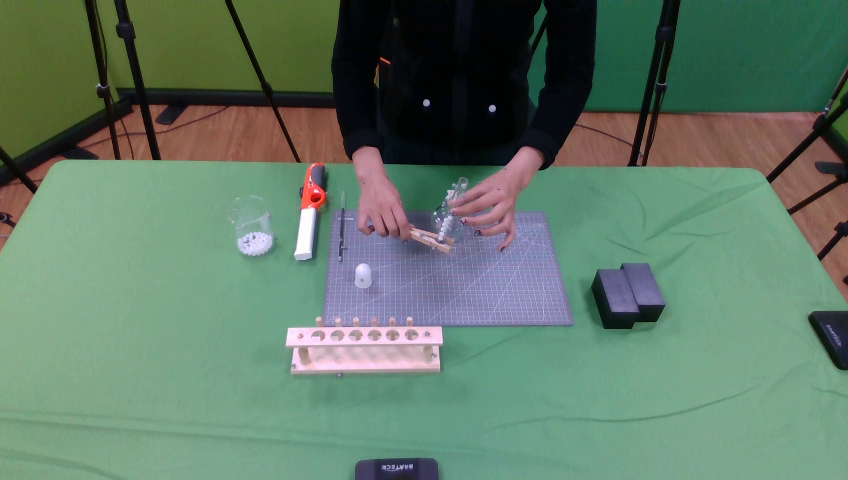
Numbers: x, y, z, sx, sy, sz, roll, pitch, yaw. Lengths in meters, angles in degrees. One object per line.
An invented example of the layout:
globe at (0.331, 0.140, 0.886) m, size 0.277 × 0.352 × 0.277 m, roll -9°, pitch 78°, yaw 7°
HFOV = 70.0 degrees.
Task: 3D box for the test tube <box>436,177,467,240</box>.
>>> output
test tube at (0.044, -0.049, 1.003) m, size 0.017 × 0.151 × 0.017 m, roll 9°, pitch 50°, yaw -10°

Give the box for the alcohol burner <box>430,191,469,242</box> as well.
alcohol burner at (0.052, -0.053, 1.185) m, size 0.078 × 0.119 × 0.077 m, roll 2°, pitch 48°, yaw -2°

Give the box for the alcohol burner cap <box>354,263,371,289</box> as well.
alcohol burner cap at (-0.113, 0.063, 1.111) m, size 0.034 × 0.048 × 0.033 m, roll 2°, pitch 45°, yaw -2°

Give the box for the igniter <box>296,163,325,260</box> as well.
igniter at (-0.233, -0.067, 1.243) m, size 0.057 × 0.025 × 0.274 m, roll -7°, pitch 46°, yaw 3°

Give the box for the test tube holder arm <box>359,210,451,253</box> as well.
test tube holder arm at (-0.035, -0.016, 1.073) m, size 0.178 × 0.015 × 0.013 m, roll 21°, pitch 46°, yaw 11°

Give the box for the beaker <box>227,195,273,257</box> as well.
beaker at (-0.326, -0.022, 1.142) m, size 0.074 × 0.101 × 0.083 m, roll 10°, pitch 47°, yaw 6°

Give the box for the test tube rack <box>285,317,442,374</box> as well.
test tube rack at (-0.095, 0.166, 0.988) m, size 0.242 × 0.085 × 0.066 m, roll 0°, pitch 46°, yaw -4°

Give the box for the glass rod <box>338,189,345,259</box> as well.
glass rod at (-0.166, -0.036, 1.227) m, size 0.008 × 0.008 × 0.198 m, roll -1°, pitch 46°, yaw -4°

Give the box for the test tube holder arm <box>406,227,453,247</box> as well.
test tube holder arm at (0.009, -0.006, 1.069) m, size 0.088 × 0.015 × 0.010 m, roll 14°, pitch 46°, yaw 5°
